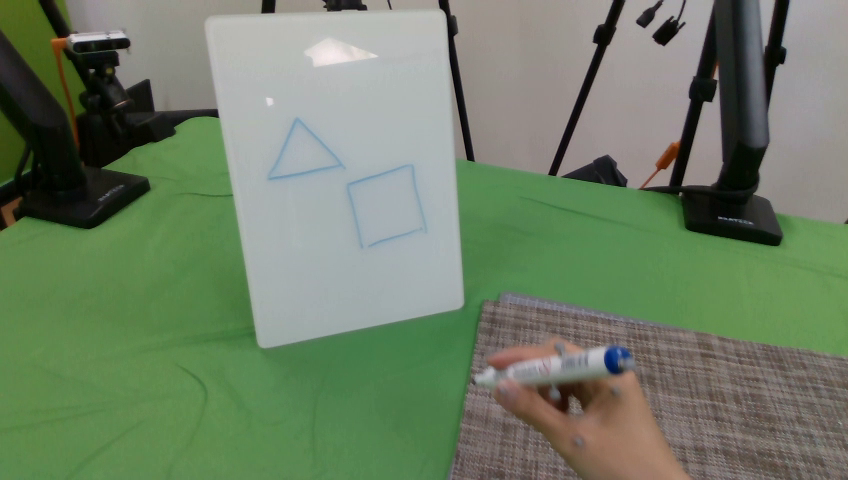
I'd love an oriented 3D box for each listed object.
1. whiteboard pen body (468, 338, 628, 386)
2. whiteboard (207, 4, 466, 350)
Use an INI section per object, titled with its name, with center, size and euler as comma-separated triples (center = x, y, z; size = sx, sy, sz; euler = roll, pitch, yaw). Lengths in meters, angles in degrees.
[whiteboard pen body]
center = 0.065, 0.076, 0.362
size = 0.017, 0.140, 0.017
euler = 10, 69, -27
[whiteboard]
center = -0.089, -0.073, 0.634
size = 0.218, 0.307, 0.142
euler = -9, 16, -17
